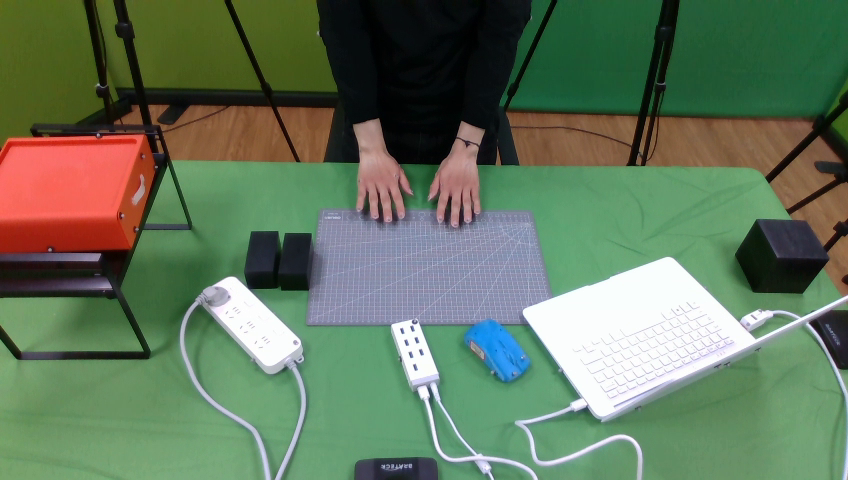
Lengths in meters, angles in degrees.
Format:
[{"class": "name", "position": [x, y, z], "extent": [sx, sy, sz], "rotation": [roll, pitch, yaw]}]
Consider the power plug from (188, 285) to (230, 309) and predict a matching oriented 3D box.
[{"class": "power plug", "position": [-0.370, 0.103, 1.039], "extent": [0.072, 0.053, 0.035], "rotation": [-26, 53, -23]}]

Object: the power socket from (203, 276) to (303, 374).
[{"class": "power socket", "position": [-0.297, 0.141, 1.034], "extent": [0.072, 0.033, 0.225], "rotation": [-35, 58, -31]}]

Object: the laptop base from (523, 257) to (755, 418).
[{"class": "laptop base", "position": [0.380, 0.159, 1.077], "extent": [0.355, 0.023, 0.234], "rotation": [-17, 47, -20]}]

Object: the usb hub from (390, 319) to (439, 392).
[{"class": "usb hub", "position": [-0.016, 0.190, 1.013], "extent": [0.049, 0.025, 0.124], "rotation": [-11, 48, -15]}]

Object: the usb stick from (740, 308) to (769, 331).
[{"class": "usb stick", "position": [0.587, 0.145, 1.088], "extent": [0.059, 0.027, 0.021], "rotation": [-21, 48, -17]}]

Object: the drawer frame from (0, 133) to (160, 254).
[{"class": "drawer frame", "position": [-0.547, -0.075, 0.939], "extent": [0.214, 0.083, 0.200], "rotation": [-3, 47, -6]}]

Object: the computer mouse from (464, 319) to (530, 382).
[{"class": "computer mouse", "position": [0.124, 0.182, 1.023], "extent": [0.063, 0.041, 0.116], "rotation": [-28, 58, -29]}]

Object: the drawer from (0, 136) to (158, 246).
[{"class": "drawer", "position": [-0.545, -0.076, 0.941], "extent": [0.212, 0.073, 0.193], "rotation": [-2, 47, -6]}]

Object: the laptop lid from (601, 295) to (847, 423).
[{"class": "laptop lid", "position": [0.449, 0.180, 0.905], "extent": [0.357, 0.242, 0.013], "rotation": [-17, 64, -20]}]
